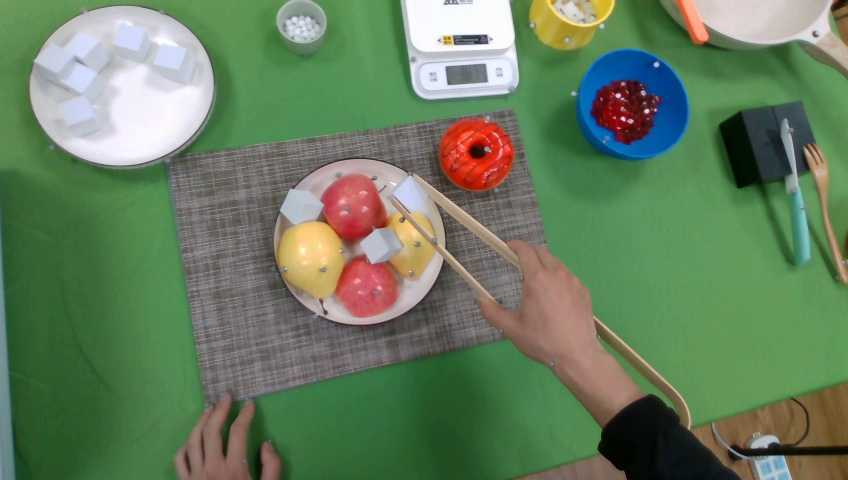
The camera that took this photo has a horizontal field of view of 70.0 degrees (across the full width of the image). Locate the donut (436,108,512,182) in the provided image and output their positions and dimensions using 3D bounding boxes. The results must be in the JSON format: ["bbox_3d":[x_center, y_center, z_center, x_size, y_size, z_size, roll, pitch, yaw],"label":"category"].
[{"bbox_3d":[0.063,-0.122,0.780,0.099,0.048,0.098,1,80,-6],"label":"donut"}]

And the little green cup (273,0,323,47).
[{"bbox_3d":[-0.161,-0.281,0.779,0.062,0.038,0.061,2,79,-9],"label":"little green cup"}]

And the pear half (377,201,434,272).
[{"bbox_3d":[-0.023,-0.006,0.741,0.070,0.031,0.087,-10,80,3],"label":"pear half"}]

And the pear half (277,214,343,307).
[{"bbox_3d":[-0.127,0.023,0.704,0.076,0.056,0.109,-17,87,-20],"label":"pear half"}]

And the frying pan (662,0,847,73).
[{"bbox_3d":[0.516,-0.343,0.869,0.306,0.103,0.486,-38,80,-13],"label":"frying pan"}]

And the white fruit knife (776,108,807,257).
[{"bbox_3d":[0.503,-0.077,0.831,0.016,0.027,0.208,-13,97,-12],"label":"white fruit knife"}]

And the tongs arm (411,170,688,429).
[{"bbox_3d":[0.123,0.052,0.644,0.385,0.028,0.028,42,69,14],"label":"tongs arm"}]

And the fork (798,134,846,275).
[{"bbox_3d":[0.557,-0.048,0.843,0.028,0.018,0.208,-21,99,-14],"label":"fork"}]

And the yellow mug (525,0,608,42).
[{"bbox_3d":[0.186,-0.345,0.834,0.131,0.064,0.100,45,77,2],"label":"yellow mug"}]

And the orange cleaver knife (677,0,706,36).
[{"bbox_3d":[0.347,-0.379,0.827,0.077,0.012,0.210,-21,84,-16],"label":"orange cleaver knife"}]

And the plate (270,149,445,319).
[{"bbox_3d":[-0.079,-0.007,0.739,0.210,0.038,0.208,2,80,-9],"label":"plate"}]

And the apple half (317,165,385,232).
[{"bbox_3d":[-0.089,-0.052,0.728,0.075,0.053,0.080,-23,87,-10],"label":"apple half"}]

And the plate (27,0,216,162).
[{"bbox_3d":[-0.357,-0.190,0.730,0.208,0.039,0.206,2,79,-9],"label":"plate"}]

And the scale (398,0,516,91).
[{"bbox_3d":[0.042,-0.303,0.820,0.149,0.031,0.200,-7,82,-10],"label":"scale"}]

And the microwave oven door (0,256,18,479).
[{"bbox_3d":[-0.443,0.124,0.535,0.039,0.244,0.354,-9,81,-11],"label":"microwave oven door"}]

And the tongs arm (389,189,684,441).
[{"bbox_3d":[0.106,0.068,0.638,0.051,0.027,0.382,-39,74,-15],"label":"tongs arm"}]

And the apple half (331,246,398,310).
[{"bbox_3d":[-0.072,0.044,0.721,0.081,0.033,0.081,2,73,-7],"label":"apple half"}]

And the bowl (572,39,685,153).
[{"bbox_3d":[0.260,-0.180,0.811,0.152,0.077,0.151,2,80,-9],"label":"bowl"}]
